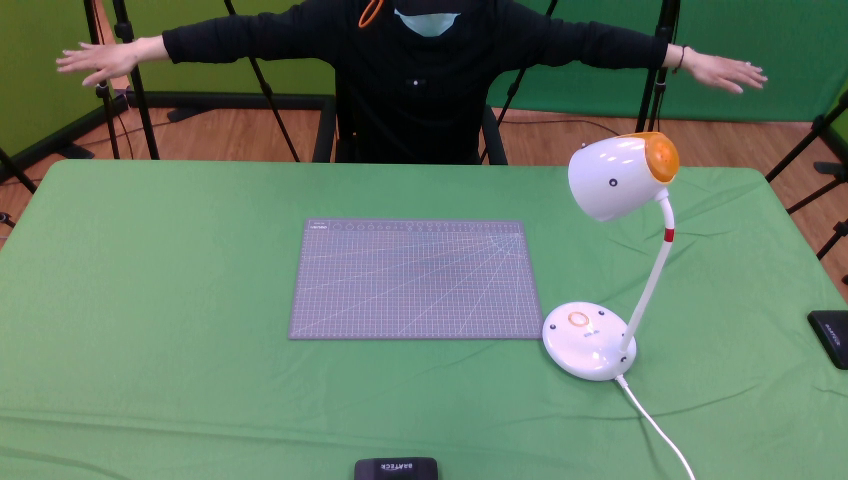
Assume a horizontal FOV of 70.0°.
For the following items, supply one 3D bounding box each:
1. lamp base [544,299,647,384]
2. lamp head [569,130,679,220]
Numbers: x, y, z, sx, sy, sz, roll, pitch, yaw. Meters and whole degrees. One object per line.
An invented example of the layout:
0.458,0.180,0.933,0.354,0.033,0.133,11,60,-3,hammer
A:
0.299,0.124,0.984,0.161,0.181,0.178,-23,55,-23,lamp base
0.272,-0.090,0.798,0.113,0.122,0.112,7,78,-33,lamp head
